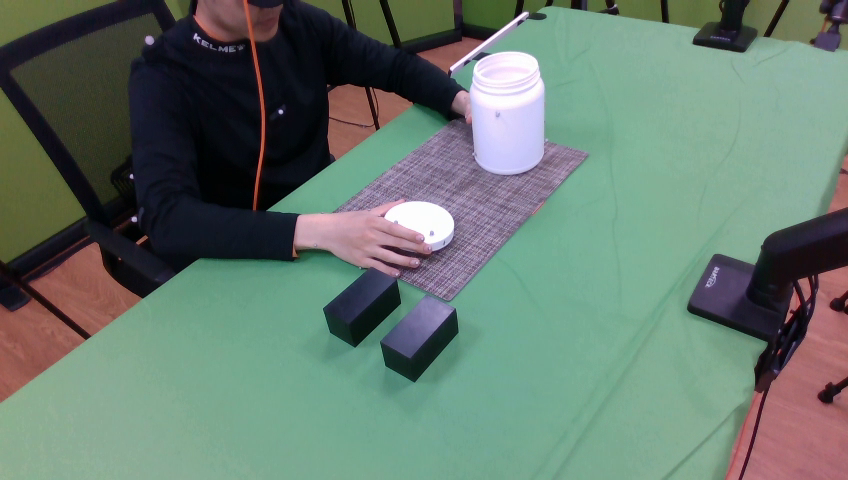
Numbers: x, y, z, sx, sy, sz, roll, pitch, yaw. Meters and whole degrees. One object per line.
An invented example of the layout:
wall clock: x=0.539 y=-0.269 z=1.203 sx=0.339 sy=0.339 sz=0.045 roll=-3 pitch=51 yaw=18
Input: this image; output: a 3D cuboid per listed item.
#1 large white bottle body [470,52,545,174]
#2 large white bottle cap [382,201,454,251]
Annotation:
large white bottle body: x=0.149 y=-0.226 z=1.076 sx=0.130 sy=0.185 sz=0.130 roll=-5 pitch=42 yaw=5
large white bottle cap: x=-0.009 y=-0.025 z=0.969 sx=0.115 sy=0.018 sz=0.114 roll=3 pitch=39 yaw=-2
